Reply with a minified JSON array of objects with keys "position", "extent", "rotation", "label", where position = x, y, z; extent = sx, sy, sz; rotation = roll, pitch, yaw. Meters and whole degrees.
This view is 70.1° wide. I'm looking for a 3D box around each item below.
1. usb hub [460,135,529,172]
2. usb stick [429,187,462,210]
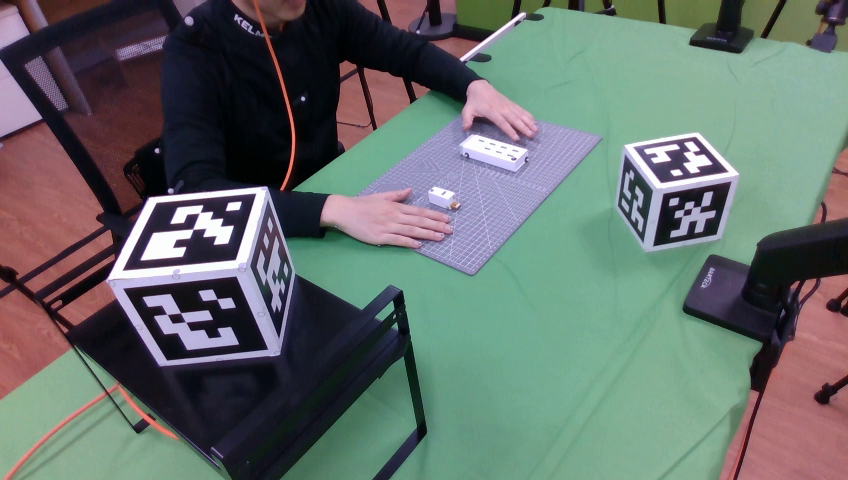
[{"position":[0.132,-0.164,1.138],"extent":[0.124,0.025,0.049],"rotation":[21,48,31],"label":"usb hub"},{"position":[0.038,-0.069,1.039],"extent":[0.059,0.027,0.021],"rotation":[24,48,29],"label":"usb stick"}]
